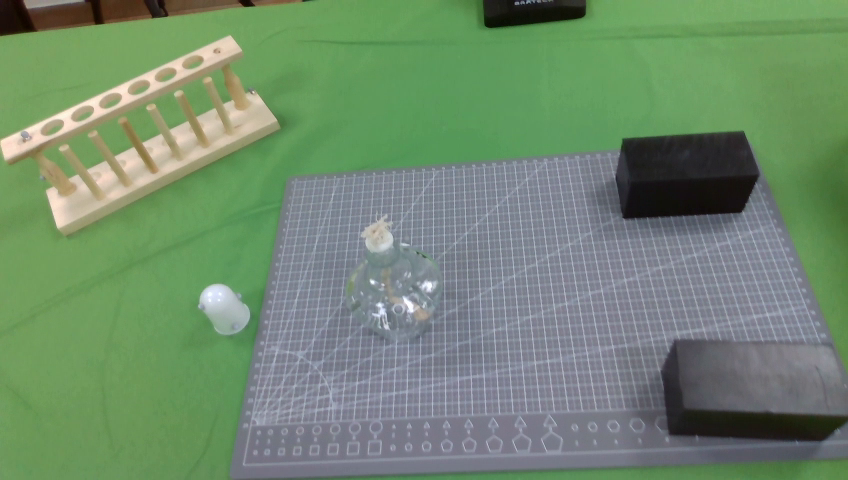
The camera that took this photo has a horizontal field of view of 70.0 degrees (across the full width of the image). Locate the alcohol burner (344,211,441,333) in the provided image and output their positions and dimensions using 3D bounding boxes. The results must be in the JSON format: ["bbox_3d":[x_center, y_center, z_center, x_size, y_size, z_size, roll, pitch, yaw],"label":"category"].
[{"bbox_3d":[-0.027,0.021,0.464,0.078,0.120,0.077,-4,52,6],"label":"alcohol burner"}]

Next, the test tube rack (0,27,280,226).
[{"bbox_3d":[-0.282,-0.118,0.621,0.242,0.086,0.066,-30,56,-13],"label":"test tube rack"}]

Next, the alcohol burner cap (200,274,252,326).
[{"bbox_3d":[-0.170,0.049,0.514,0.034,0.048,0.033,-5,54,7],"label":"alcohol burner cap"}]
